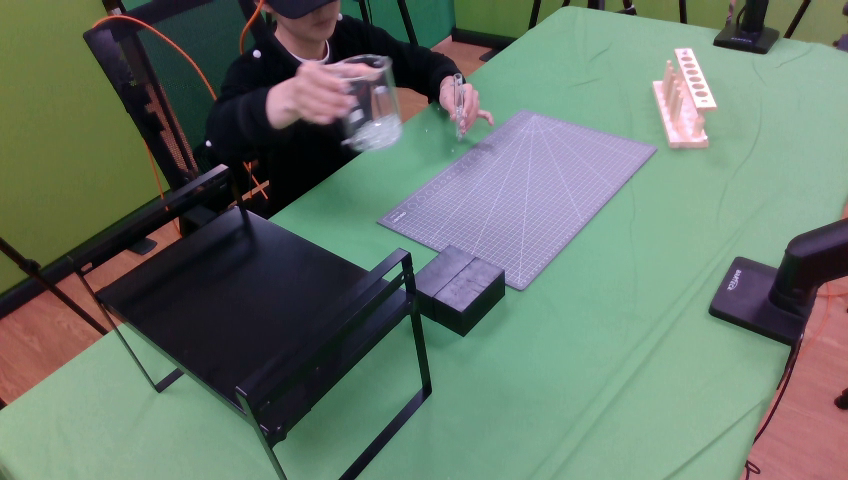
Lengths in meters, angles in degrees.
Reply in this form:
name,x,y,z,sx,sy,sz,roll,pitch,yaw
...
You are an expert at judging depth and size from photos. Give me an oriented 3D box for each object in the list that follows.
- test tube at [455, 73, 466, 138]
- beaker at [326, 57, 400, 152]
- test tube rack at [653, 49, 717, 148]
name,x,y,z,sx,sy,sz,roll,pitch,yaw
test tube,0.067,-0.242,1.108,0.017,0.151,0.017,-2,55,4
beaker,-0.071,-0.168,0.754,0.073,0.101,0.084,14,44,31
test tube rack,0.502,-0.281,1.177,0.066,0.085,0.241,1,41,11
